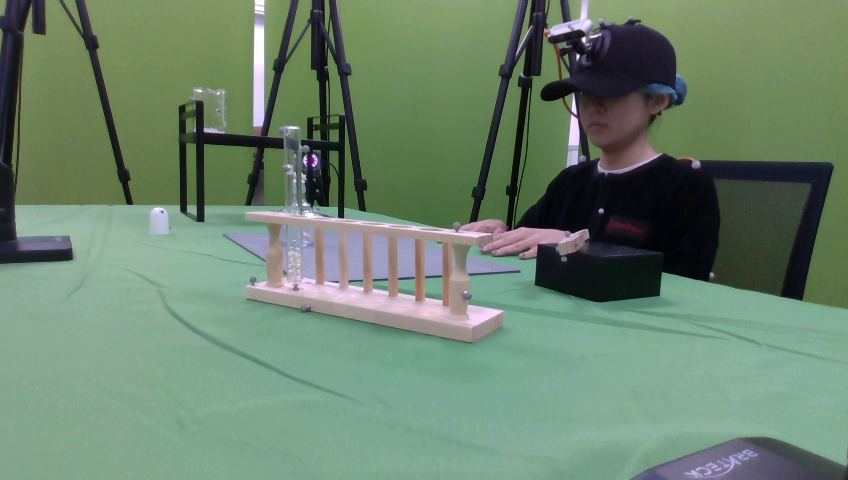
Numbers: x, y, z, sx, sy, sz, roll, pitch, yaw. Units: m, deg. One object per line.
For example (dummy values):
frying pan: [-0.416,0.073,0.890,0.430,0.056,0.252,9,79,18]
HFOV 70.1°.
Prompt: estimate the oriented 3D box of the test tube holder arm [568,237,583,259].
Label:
test tube holder arm: [0.165,0.008,0.661,0.010,0.015,0.088,8,9,18]

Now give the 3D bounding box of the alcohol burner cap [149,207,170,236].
alcohol burner cap: [-0.445,-0.032,1.019,0.034,0.048,0.034,4,8,0]

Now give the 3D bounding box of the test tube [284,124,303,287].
test tube: [-0.120,-0.030,0.558,0.017,0.150,0.017,2,10,0]

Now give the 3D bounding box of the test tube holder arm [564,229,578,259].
test tube holder arm: [0.172,0.002,0.706,0.013,0.015,0.179,7,9,13]

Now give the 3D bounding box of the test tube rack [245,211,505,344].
test tube rack: [-0.049,0.025,0.547,0.241,0.085,0.067,7,8,29]

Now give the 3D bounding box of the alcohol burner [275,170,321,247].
alcohol burner: [-0.199,-0.050,0.948,0.078,0.119,0.078,1,7,0]

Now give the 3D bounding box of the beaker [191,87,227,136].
beaker: [-0.476,-0.284,1.345,0.074,0.100,0.083,-3,10,-37]
